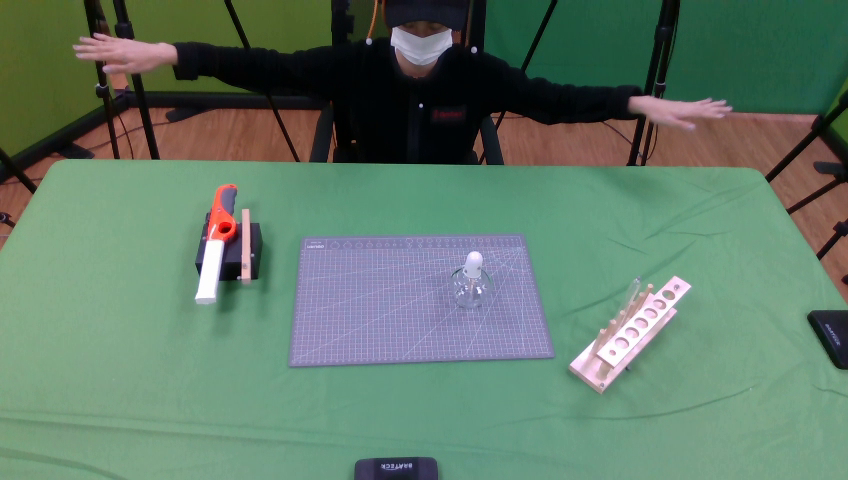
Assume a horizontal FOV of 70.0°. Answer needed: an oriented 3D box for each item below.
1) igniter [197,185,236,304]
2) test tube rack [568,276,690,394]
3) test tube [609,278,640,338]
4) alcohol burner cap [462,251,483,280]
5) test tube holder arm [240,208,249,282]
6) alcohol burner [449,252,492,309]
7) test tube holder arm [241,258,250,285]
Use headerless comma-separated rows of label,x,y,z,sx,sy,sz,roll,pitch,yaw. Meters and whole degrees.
igniter,-0.376,-0.002,1.101,0.057,0.025,0.274,-1,49,-7
test tube rack,0.353,0.149,1.039,0.242,0.085,0.066,-34,56,-31
test tube,0.331,0.115,1.007,0.017,0.151,0.017,2,45,-2
alcohol burner cap,0.085,0.042,1.048,0.034,0.048,0.033,4,41,-3
test tube holder arm,-0.324,0.006,1.096,0.015,0.013,0.177,-1,48,-15
alcohol burner,0.084,0.066,1.074,0.078,0.120,0.077,1,44,-1
test tube holder arm,-0.316,0.042,1.071,0.015,0.010,0.087,-1,48,-15
